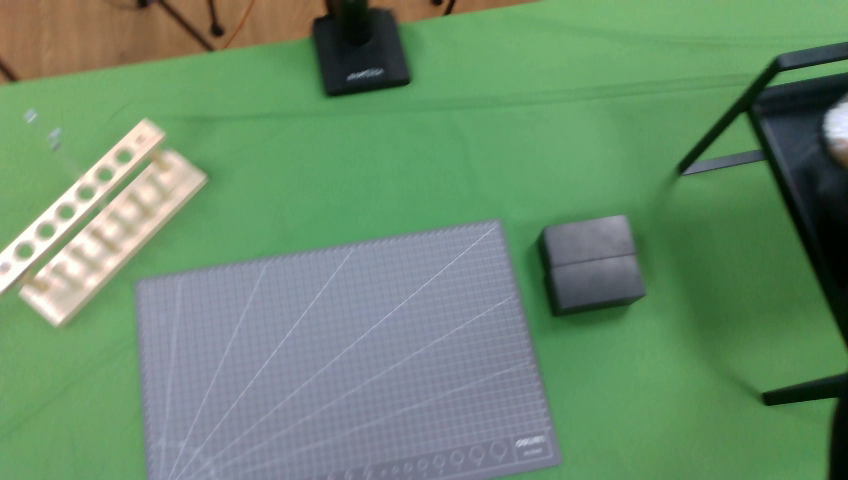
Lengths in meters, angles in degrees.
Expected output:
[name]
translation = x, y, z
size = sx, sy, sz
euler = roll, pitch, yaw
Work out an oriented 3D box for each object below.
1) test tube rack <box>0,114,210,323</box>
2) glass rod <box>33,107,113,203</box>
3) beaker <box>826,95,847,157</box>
[test tube rack]
translation = -0.370, -0.024, 0.700
size = 0.066, 0.085, 0.242
euler = 37, 75, 10
[glass rod]
translation = -0.367, -0.078, 0.649
size = 0.008, 0.201, 0.008
euler = 2, 64, -4
[beaker]
translation = 0.437, -0.123, 0.567
size = 0.084, 0.101, 0.073
euler = -15, 73, -6
